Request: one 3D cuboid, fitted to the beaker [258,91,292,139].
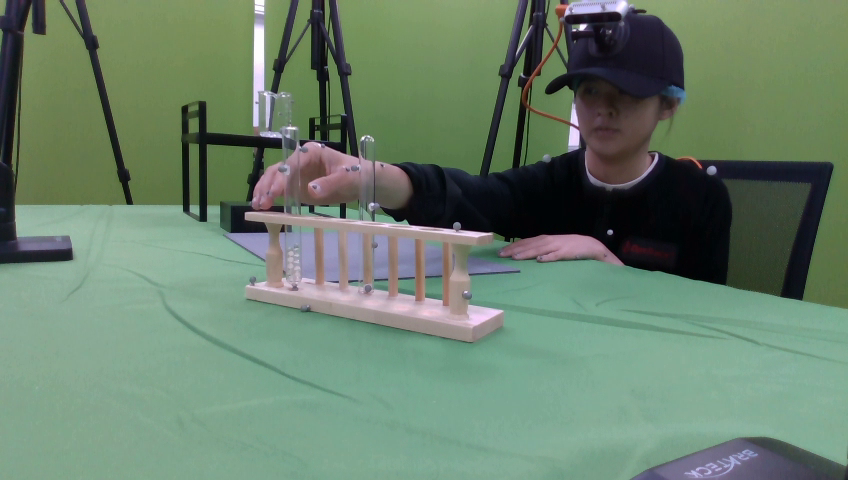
[{"bbox_3d":[-0.331,-0.276,1.343,0.074,0.100,0.083,0,8,-20],"label":"beaker"}]

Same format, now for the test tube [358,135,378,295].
[{"bbox_3d":[-0.053,-0.022,0.565,0.017,0.150,0.017,2,6,0],"label":"test tube"}]

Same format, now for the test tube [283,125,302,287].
[{"bbox_3d":[-0.121,-0.030,0.558,0.017,0.150,0.017,2,11,0],"label":"test tube"}]

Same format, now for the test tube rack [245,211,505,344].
[{"bbox_3d":[-0.049,0.025,0.547,0.241,0.085,0.067,7,8,28],"label":"test tube rack"}]
